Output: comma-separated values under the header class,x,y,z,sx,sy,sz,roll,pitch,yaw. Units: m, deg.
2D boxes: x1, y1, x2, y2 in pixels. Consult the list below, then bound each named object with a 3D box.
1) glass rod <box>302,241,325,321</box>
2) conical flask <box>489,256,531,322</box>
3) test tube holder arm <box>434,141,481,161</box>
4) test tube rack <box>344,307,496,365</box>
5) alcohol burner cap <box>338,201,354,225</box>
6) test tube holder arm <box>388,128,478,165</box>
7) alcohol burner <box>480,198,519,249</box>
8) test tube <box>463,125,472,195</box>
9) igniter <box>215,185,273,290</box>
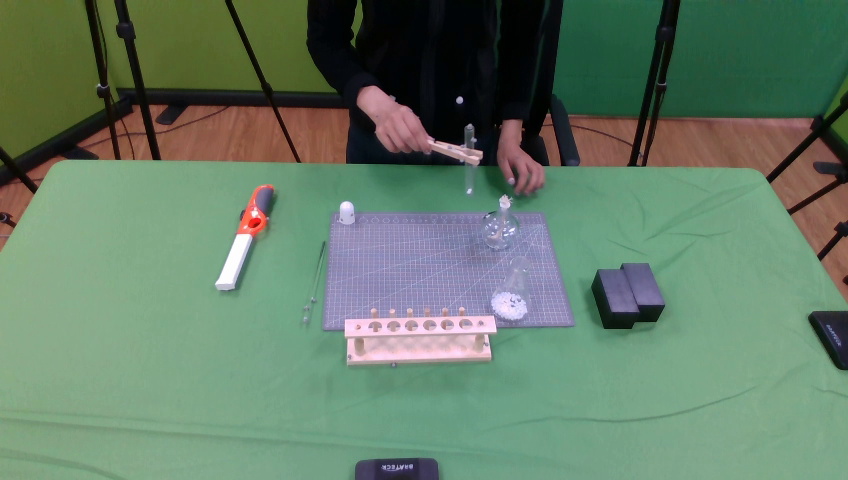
class,x,y,z,sx,sy,sz,roll,pitch,yaw
glass rod,-0.204,0.071,1.124,0.008,0.008,0.198,4,44,0
conical flask,0.158,0.081,1.061,0.075,0.122,0.075,2,46,-2
test tube holder arm,0.056,-0.156,1.058,0.087,0.015,0.010,16,47,15
test tube rack,-0.009,0.154,1.007,0.242,0.085,0.066,-1,46,-5
alcohol burner cap,-0.159,-0.056,1.224,0.034,0.048,0.033,2,46,-2
test tube holder arm,0.014,-0.166,1.068,0.178,0.015,0.013,21,49,20
alcohol burner,0.150,-0.039,1.182,0.078,0.119,0.077,3,47,-4
test tube,0.076,-0.136,1.058,0.017,0.151,0.017,-2,48,2
igniter,-0.347,-0.014,1.182,0.057,0.025,0.275,-1,45,8
